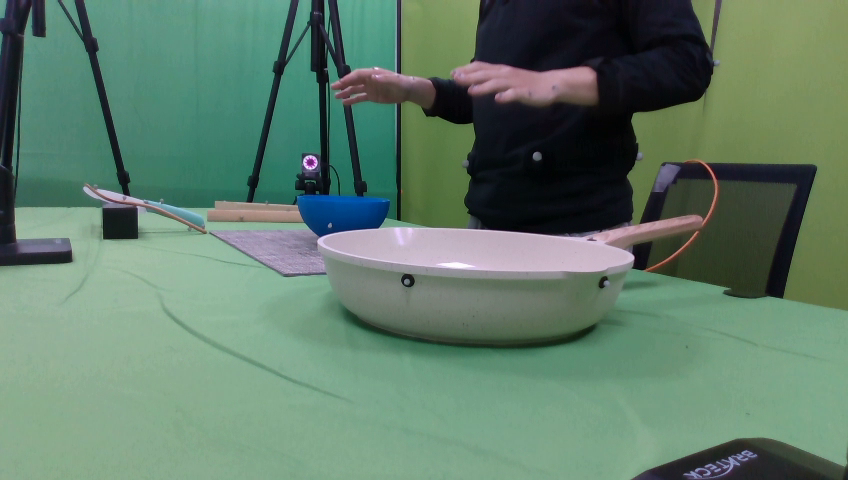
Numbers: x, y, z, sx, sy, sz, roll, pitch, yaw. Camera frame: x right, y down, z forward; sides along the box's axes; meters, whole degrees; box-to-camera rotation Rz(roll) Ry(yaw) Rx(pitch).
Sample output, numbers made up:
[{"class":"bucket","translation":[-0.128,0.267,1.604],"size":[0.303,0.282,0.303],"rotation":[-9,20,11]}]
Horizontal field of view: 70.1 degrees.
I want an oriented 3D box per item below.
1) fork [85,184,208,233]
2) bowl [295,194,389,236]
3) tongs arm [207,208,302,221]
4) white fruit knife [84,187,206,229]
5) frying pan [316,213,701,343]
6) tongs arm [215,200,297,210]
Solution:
[{"class":"fork","translation":[-0.462,-0.051,1.019],"size":[0.208,0.018,0.028],"rotation":[22,-11,-37]},{"class":"bowl","translation":[-0.133,-0.032,0.980],"size":[0.151,0.077,0.151],"rotation":[2,7,0]},{"class":"tongs arm","translation":[-0.277,-0.055,1.347],"size":[0.389,0.028,0.028],"rotation":[0,5,-22]},{"class":"white fruit knife","translation":[-0.488,-0.059,1.071],"size":[0.208,0.027,0.016],"rotation":[17,4,-33]},{"class":"frying pan","translation":[0.133,0.013,0.629],"size":[0.490,0.102,0.305],"rotation":[-12,14,-30]},{"class":"tongs arm","translation":[-0.295,-0.069,1.425],"size":[0.386,0.026,0.050],"rotation":[2,8,-9]}]
